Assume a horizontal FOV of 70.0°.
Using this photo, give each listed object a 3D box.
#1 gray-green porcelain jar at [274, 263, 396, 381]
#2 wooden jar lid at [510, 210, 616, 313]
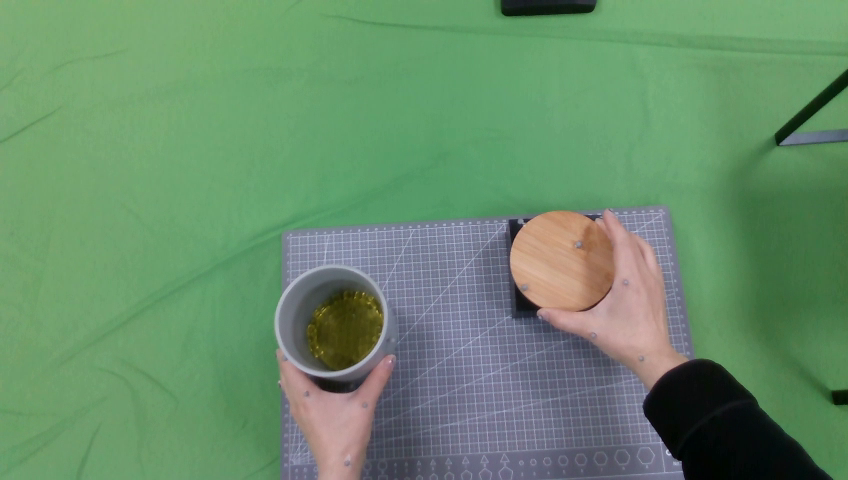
[{"bbox_3d":[-0.083,0.088,0.614,0.106,0.127,0.105,0,74,2],"label":"gray-green porcelain jar"},{"bbox_3d":[0.143,0.023,0.628,0.108,0.021,0.108,-1,75,3],"label":"wooden jar lid"}]
